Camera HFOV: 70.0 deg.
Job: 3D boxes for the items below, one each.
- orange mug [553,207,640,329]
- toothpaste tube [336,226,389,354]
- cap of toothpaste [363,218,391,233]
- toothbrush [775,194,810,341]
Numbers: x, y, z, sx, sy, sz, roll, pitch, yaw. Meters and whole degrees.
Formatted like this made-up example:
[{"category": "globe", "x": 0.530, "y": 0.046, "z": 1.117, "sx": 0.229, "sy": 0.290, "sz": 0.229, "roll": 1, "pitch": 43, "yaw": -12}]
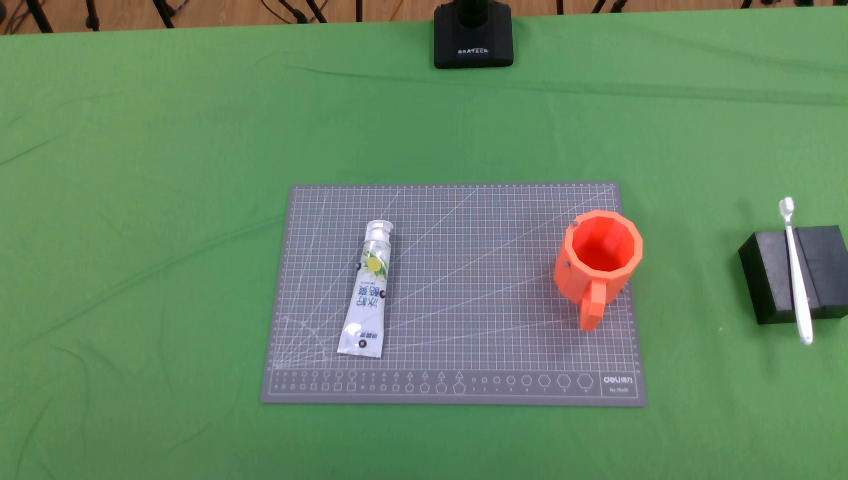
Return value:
[{"category": "orange mug", "x": 0.199, "y": 0.037, "z": 0.712, "sx": 0.083, "sy": 0.101, "sz": 0.125, "roll": 7, "pitch": 61, "yaw": 7}, {"category": "toothpaste tube", "x": -0.072, "y": 0.058, "z": 0.758, "sx": 0.055, "sy": 0.035, "sz": 0.164, "roll": 3, "pitch": 69, "yaw": 11}, {"category": "cap of toothpaste", "x": -0.061, "y": -0.017, "z": 0.786, "sx": 0.037, "sy": 0.037, "sz": 0.011, "roll": -3, "pitch": 64, "yaw": 2}, {"category": "toothbrush", "x": 0.425, "y": 0.027, "z": 0.697, "sx": 0.014, "sy": 0.017, "sz": 0.180, "roll": 5, "pitch": 66, "yaw": 2}]
